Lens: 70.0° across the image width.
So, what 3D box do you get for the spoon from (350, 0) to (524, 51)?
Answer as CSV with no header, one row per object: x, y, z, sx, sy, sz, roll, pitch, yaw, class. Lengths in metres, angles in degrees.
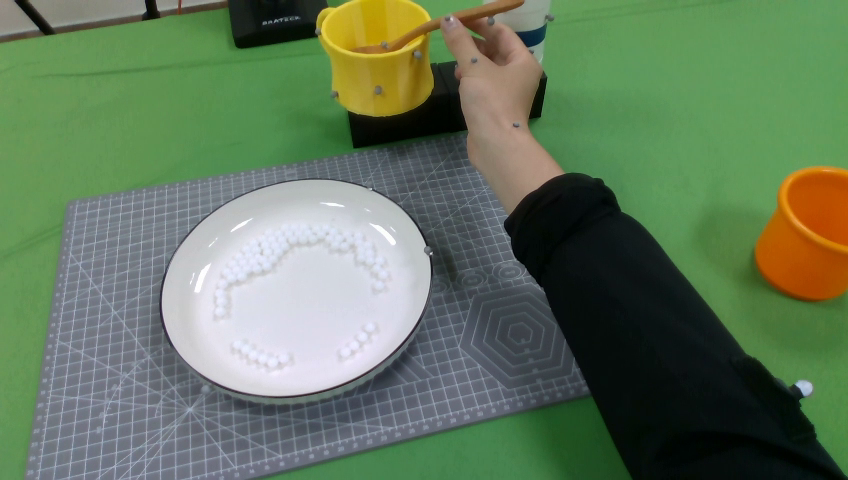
-0.001,-0.184,0.533,0.193,0.022,0.041,-8,40,38,spoon

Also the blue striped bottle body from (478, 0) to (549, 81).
0.084,-0.216,0.563,0.063,0.122,0.062,-1,51,1,blue striped bottle body

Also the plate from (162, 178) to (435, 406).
-0.094,0.037,0.479,0.208,0.039,0.205,0,51,1,plate

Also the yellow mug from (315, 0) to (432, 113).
-0.055,-0.183,0.575,0.130,0.064,0.099,29,57,23,yellow mug
